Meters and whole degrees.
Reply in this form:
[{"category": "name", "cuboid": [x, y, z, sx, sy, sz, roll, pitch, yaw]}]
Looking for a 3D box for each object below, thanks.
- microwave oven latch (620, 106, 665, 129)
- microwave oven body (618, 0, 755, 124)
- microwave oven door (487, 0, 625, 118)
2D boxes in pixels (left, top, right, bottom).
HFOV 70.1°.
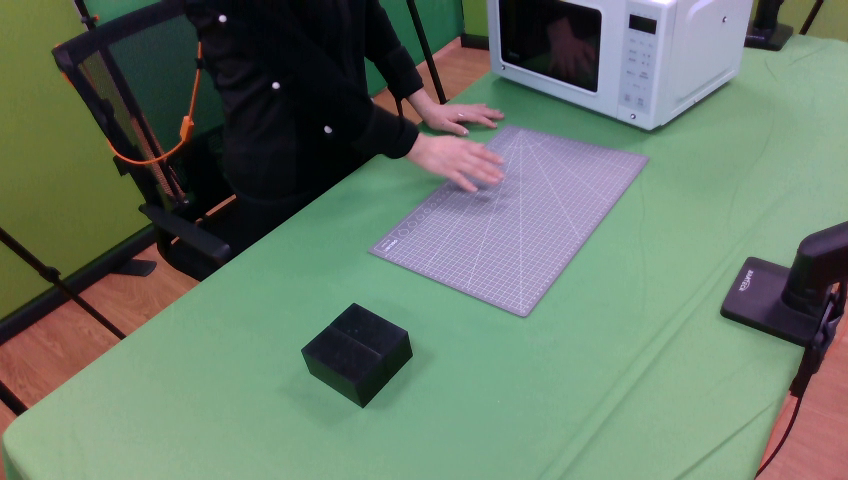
[{"category": "microwave oven latch", "cuboid": [0.412, -0.237, 1.146, 0.030, 0.029, 0.078, -32, 44, -23]}, {"category": "microwave oven body", "cuboid": [0.402, -0.458, 1.259, 0.327, 0.261, 0.437, -33, 45, -24]}, {"category": "microwave oven door", "cuboid": [0.262, -0.409, 1.221, 0.039, 0.245, 0.352, -33, 45, -25]}]
